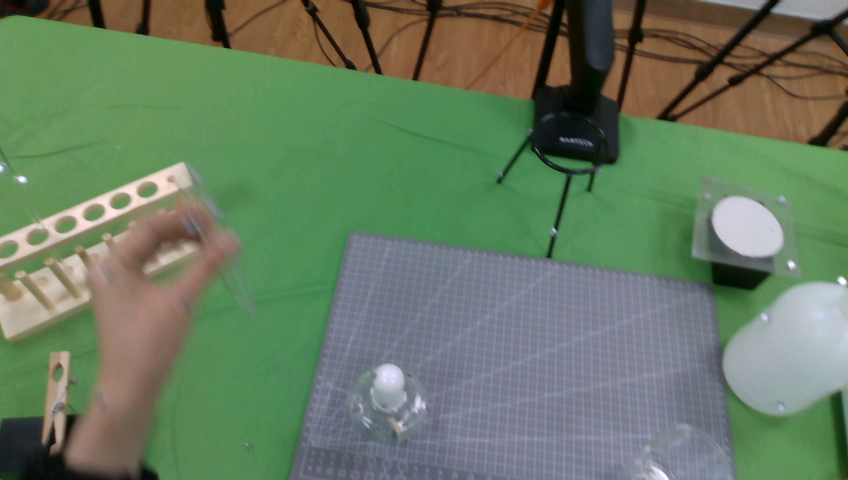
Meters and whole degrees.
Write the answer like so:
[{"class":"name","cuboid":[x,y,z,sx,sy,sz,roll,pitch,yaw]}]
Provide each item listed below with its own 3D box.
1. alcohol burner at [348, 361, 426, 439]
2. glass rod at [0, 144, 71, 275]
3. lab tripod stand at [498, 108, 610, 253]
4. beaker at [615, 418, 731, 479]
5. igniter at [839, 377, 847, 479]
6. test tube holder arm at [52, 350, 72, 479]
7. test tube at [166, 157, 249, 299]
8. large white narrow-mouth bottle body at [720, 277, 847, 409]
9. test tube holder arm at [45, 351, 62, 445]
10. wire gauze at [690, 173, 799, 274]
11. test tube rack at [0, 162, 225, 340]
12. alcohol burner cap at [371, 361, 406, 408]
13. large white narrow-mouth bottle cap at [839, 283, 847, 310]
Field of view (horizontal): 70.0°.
[{"class":"alcohol burner","cuboid":[-0.035,0.149,0.587,0.078,0.120,0.077,3,57,-5]},{"class":"glass rod","cuboid":[-0.390,-0.025,0.607,0.008,0.201,0.008,4,49,-5]},{"class":"lab tripod stand","cuboid":[0.163,-0.078,0.733,0.148,0.132,0.147,3,60,-4]},{"class":"beaker","cuboid":[0.226,0.219,0.573,0.084,0.101,0.073,6,58,0]},{"class":"igniter","cuboid":[0.454,0.239,0.624,0.057,0.025,0.274,20,58,-4]},{"class":"test tube holder arm","cuboid":[-0.329,0.184,0.547,0.013,0.015,0.176,-7,60,-17]},{"class":"test tube","cuboid":[-0.148,-0.001,0.425,0.017,0.151,0.017,0,54,1]},{"class":"large white narrow-mouth bottle body","cuboid":[0.386,0.096,0.608,0.102,0.196,0.101,2,58,-2]},{"class":"test tube holder arm","cuboid":[-0.345,0.147,0.567,0.010,0.015,0.087,-7,60,-16]},{"class":"wire gauze","cuboid":[0.386,-0.021,0.731,0.121,0.011,0.124,15,58,5]},{"class":"test tube rack","cuboid":[-0.355,0.010,0.666,0.242,0.086,0.066,-28,64,-19]},{"class":"alcohol burner cap","cuboid":[-0.033,0.131,0.556,0.034,0.048,0.033,2,53,-2]},{"class":"large white narrow-mouth bottle cap","cuboid":[0.391,0.049,0.536,0.038,0.024,0.037,2,58,-2]}]
